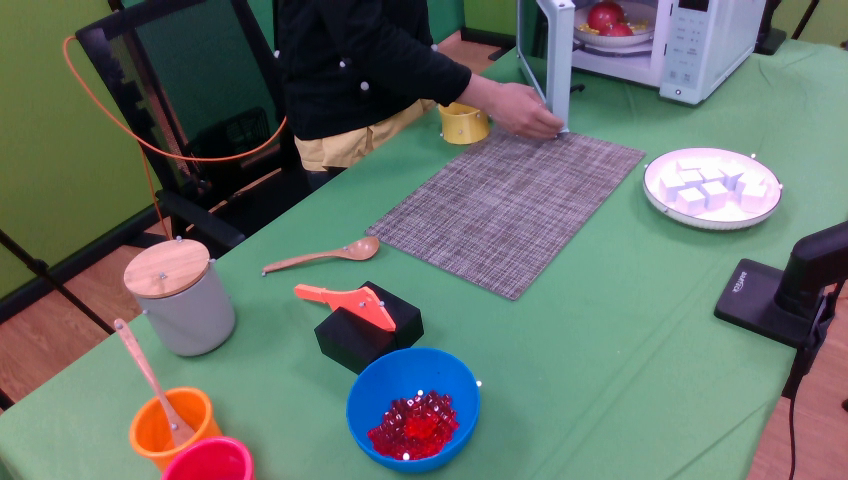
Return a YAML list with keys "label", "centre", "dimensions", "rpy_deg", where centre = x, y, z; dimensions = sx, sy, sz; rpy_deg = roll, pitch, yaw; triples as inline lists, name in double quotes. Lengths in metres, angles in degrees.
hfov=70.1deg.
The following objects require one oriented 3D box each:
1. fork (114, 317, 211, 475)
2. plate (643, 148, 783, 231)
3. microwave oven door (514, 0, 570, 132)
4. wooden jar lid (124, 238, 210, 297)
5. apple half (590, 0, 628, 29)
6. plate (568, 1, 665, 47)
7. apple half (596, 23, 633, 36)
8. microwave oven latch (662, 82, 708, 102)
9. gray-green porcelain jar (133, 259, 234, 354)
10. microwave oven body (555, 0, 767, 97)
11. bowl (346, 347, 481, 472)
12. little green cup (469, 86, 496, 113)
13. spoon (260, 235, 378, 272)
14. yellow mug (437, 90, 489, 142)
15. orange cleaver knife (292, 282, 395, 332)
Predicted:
- label: "fork"
  centre: [-0.309, 0.180, 0.708]
  dimensions: [0.028, 0.018, 0.207]
  rpy_deg: [-29, 89, -25]
- label: "plate"
  centre: [0.464, -0.080, 0.986]
  dimensions: [0.207, 0.039, 0.206]
  rpy_deg: [-4, 41, 4]
- label: "microwave oven door"
  centre: [0.234, -0.413, 1.220]
  dimensions: [0.039, 0.245, 0.353]
  rpy_deg: [-8, 41, 0]
- label: "wooden jar lid"
  centre: [-0.335, 0.039, 0.794]
  dimensions: [0.108, 0.021, 0.108]
  rpy_deg: [-2, 40, 2]
- label: "apple half"
  centre: [0.419, -0.523, 1.379]
  dimensions: [0.081, 0.054, 0.074]
  rpy_deg: [-42, 39, -15]
- label: "plate"
  centre: [0.431, -0.486, 1.367]
  dimensions: [0.209, 0.038, 0.208]
  rpy_deg: [-4, 41, 4]
- label: "apple half"
  centre: [0.417, -0.460, 1.328]
  dimensions: [0.081, 0.033, 0.081]
  rpy_deg: [-2, 38, 2]
- label: "microwave oven latch"
  centre: [0.518, -0.298, 1.202]
  dimensions: [0.078, 0.029, 0.030]
  rpy_deg: [28, 53, 35]
- label: "gray-green porcelain jar"
  centre: [-0.328, 0.087, 0.836]
  dimensions: [0.106, 0.127, 0.105]
  rpy_deg: [-4, 41, 4]
- label: "microwave oven body"
  centre: [0.473, -0.516, 1.313]
  dimensions: [0.438, 0.261, 0.327]
  rpy_deg: [26, 51, 34]
- label: "bowl"
  centre: [-0.008, 0.205, 0.691]
  dimensions: [0.151, 0.077, 0.150]
  rpy_deg: [-4, 40, 4]
- label: "little green cup"
  centre: [0.123, -0.298, 1.285]
  dimensions: [0.061, 0.039, 0.061]
  rpy_deg: [-3, 40, 3]
- label: "spoon"
  centre: [-0.168, 0.024, 0.966]
  dimensions: [0.194, 0.022, 0.041]
  rpy_deg: [-10, 59, -3]
- label: "yellow mug"
  centre: [0.069, -0.256, 1.224]
  dimensions: [0.100, 0.064, 0.129]
  rpy_deg: [-32, 43, -26]
- label: "orange cleaver knife"
  centre: [-0.116, 0.091, 0.835]
  dimensions: [0.209, 0.077, 0.012]
  rpy_deg: [2, 32, 48]
